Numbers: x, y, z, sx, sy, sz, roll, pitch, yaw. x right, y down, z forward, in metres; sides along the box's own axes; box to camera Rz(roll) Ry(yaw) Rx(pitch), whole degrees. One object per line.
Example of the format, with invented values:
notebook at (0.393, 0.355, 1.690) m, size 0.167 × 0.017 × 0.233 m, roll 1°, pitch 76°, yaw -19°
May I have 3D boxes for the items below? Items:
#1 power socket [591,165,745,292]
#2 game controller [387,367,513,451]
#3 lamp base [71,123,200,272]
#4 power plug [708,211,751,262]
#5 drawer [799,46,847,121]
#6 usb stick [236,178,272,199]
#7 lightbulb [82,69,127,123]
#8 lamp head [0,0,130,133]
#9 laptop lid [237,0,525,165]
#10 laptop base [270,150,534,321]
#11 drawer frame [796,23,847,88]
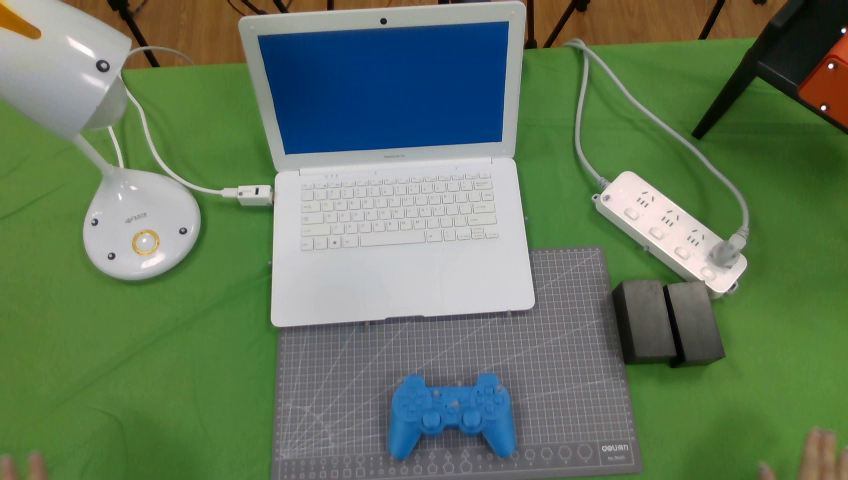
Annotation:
power socket at (0.338, -0.018, 0.841) m, size 0.225 × 0.033 × 0.072 m, roll 42°, pitch 74°, yaw 15°
game controller at (0.032, 0.205, 0.742) m, size 0.155 × 0.052 × 0.096 m, roll 0°, pitch 63°, yaw 0°
lamp base at (-0.404, -0.068, 0.782) m, size 0.160 × 0.181 × 0.178 m, roll -33°, pitch 69°, yaw -12°
power plug at (0.411, 0.001, 0.808) m, size 0.072 × 0.053 × 0.035 m, roll -33°, pitch 71°, yaw -14°
drawer at (0.581, -0.201, 0.694) m, size 0.193 × 0.074 × 0.211 m, roll 41°, pitch 73°, yaw 15°
usb stick at (-0.233, -0.072, 0.859) m, size 0.059 × 0.027 × 0.021 m, roll 1°, pitch 62°, yaw -3°
lightbulb at (-0.314, -0.149, 0.529) m, size 0.059 × 0.109 × 0.059 m, roll -23°, pitch 45°, yaw 26°
lamp head at (-0.336, -0.168, 0.516) m, size 0.124 × 0.112 × 0.112 m, roll 31°, pitch 64°, yaw -33°
laptop lid at (-0.048, -0.204, 0.810) m, size 0.357 × 0.244 × 0.013 m, roll -5°, pitch 44°, yaw -1°
laptop base at (-0.035, -0.011, 0.847) m, size 0.354 × 0.023 × 0.234 m, roll -4°, pitch 71°, yaw -2°
drawer frame at (0.583, -0.205, 0.694) m, size 0.200 × 0.083 × 0.213 m, roll 40°, pitch 73°, yaw 15°
